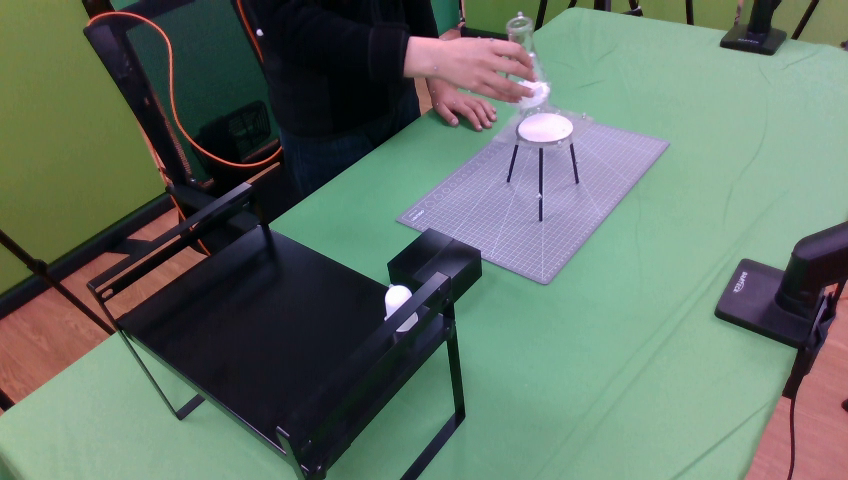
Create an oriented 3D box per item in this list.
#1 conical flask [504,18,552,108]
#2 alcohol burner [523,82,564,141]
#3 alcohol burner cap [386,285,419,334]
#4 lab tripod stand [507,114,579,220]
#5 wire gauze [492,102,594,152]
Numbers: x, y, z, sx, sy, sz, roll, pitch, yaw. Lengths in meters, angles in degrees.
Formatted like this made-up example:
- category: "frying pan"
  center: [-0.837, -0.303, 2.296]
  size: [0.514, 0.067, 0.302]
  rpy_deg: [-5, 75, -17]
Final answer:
- category: "conical flask"
  center: [0.149, -0.264, 0.899]
  size: [0.075, 0.122, 0.075]
  rpy_deg: [-9, 44, 9]
- category: "alcohol burner"
  center: [0.230, -0.251, 1.161]
  size: [0.078, 0.119, 0.077]
  rpy_deg: [-4, 43, 4]
- category: "alcohol burner cap"
  center: [-0.024, 0.067, 0.604]
  size: [0.034, 0.048, 0.033]
  rpy_deg: [-4, 40, 4]
- category: "lab tripod stand"
  center: [0.199, -0.128, 1.005]
  size: [0.148, 0.132, 0.147]
  rpy_deg: [-3, 42, 3]
- category: "wire gauze"
  center: [0.191, -0.180, 0.964]
  size: [0.120, 0.011, 0.125]
  rpy_deg: [19, 48, 28]
